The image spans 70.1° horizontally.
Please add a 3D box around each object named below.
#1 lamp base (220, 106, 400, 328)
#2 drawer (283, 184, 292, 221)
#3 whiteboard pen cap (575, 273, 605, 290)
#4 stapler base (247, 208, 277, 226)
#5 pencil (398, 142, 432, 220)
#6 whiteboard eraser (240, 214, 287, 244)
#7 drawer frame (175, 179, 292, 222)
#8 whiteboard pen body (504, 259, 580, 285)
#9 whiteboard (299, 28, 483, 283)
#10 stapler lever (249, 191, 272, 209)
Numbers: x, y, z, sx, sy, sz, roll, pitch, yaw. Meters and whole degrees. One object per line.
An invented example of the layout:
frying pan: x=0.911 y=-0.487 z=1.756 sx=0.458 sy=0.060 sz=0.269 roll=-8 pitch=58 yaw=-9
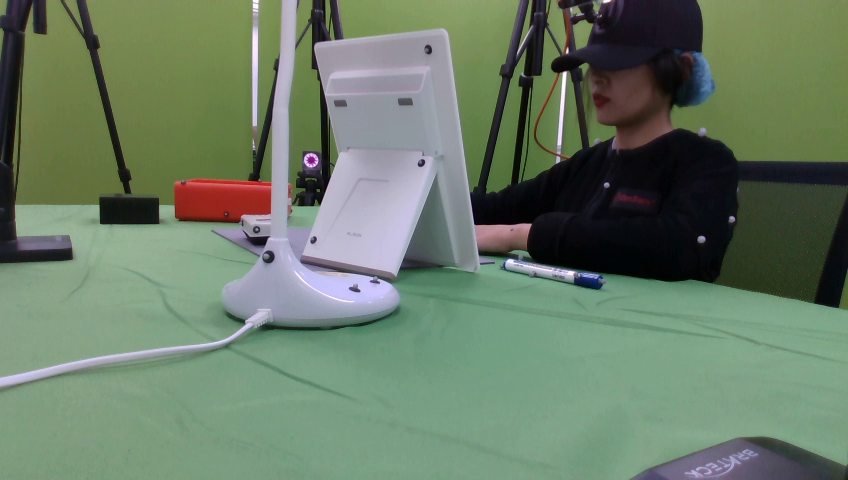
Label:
lamp base: x=-0.101 y=-0.023 z=0.531 sx=0.160 sy=0.180 sz=0.179 roll=4 pitch=10 yaw=10
drawer: x=-0.397 y=-0.086 z=1.314 sx=0.212 sy=0.073 sz=0.194 roll=1 pitch=8 yaw=-9
whiteboard pen cap: x=0.197 y=0.048 z=0.719 sx=0.018 sy=0.018 sz=0.033 roll=-4 pitch=11 yaw=-41
stapler base: x=-0.350 y=-0.054 z=1.310 sx=0.041 sy=0.024 sz=0.130 roll=-1 pitch=12 yaw=-3
pencil: x=-0.017 y=-0.110 z=1.100 sx=0.012 sy=0.194 sz=0.012 roll=14 pitch=-35 yaw=10
whiteboard eraser: x=-0.256 y=-0.018 z=0.958 sx=0.056 sy=0.042 sz=0.112 roll=0 pitch=8 yaw=-25
drawer frame: x=-0.402 y=-0.087 z=1.311 sx=0.214 sy=0.082 sz=0.201 roll=1 pitch=8 yaw=-9
whiteboard pen body: x=0.157 y=0.042 z=0.764 sx=0.017 sy=0.017 sz=0.140 roll=-4 pitch=11 yaw=-41
whiteboard: x=-0.075 y=-0.082 z=0.741 sx=0.216 sy=0.305 sz=0.144 roll=9 pitch=29 yaw=38
stapler lever: x=-0.352 y=-0.086 z=1.306 sx=0.027 sy=0.040 sz=0.118 roll=-1 pitch=5 yaw=-3
